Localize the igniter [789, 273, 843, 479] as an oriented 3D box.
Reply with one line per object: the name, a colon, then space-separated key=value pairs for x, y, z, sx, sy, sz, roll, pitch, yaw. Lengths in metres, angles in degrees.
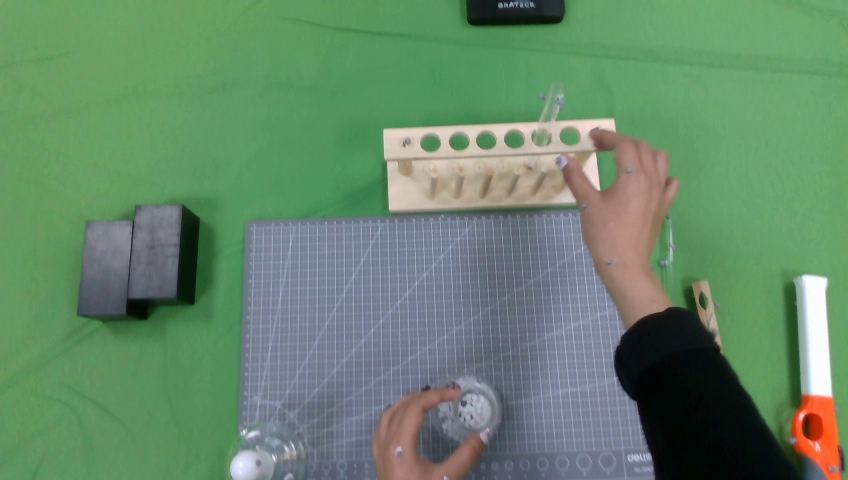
igniter: x=0.411 y=0.172 z=0.639 sx=0.057 sy=0.025 sz=0.275 roll=8 pitch=77 yaw=-9

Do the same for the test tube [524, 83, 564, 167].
test tube: x=0.121 y=-0.113 z=0.622 sx=0.017 sy=0.151 sz=0.017 roll=0 pitch=71 yaw=1

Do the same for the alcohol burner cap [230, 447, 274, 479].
alcohol burner cap: x=-0.156 y=0.200 z=0.540 sx=0.034 sy=0.048 sz=0.033 roll=0 pitch=67 yaw=0

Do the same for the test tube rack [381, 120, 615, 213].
test tube rack: x=0.078 y=-0.078 z=0.665 sx=0.242 sy=0.085 sz=0.066 roll=-3 pitch=76 yaw=-1

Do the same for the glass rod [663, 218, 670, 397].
glass rod: x=0.269 y=0.072 z=0.670 sx=0.008 sy=0.008 sz=0.199 roll=4 pitch=79 yaw=0

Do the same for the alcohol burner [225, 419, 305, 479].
alcohol burner: x=-0.155 y=0.211 z=0.575 sx=0.078 sy=0.119 sz=0.077 roll=0 pitch=75 yaw=2

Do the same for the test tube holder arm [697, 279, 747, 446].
test tube holder arm: x=0.318 y=0.129 z=0.650 sx=0.013 sy=0.015 sz=0.177 roll=-19 pitch=74 yaw=33

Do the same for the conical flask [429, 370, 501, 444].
conical flask: x=0.043 y=0.162 z=0.585 sx=0.075 sy=0.122 sz=0.075 roll=0 pitch=76 yaw=0

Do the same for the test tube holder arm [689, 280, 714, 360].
test tube holder arm: x=0.306 y=0.087 z=0.663 sx=0.010 sy=0.015 sz=0.087 roll=-17 pitch=75 yaw=34
